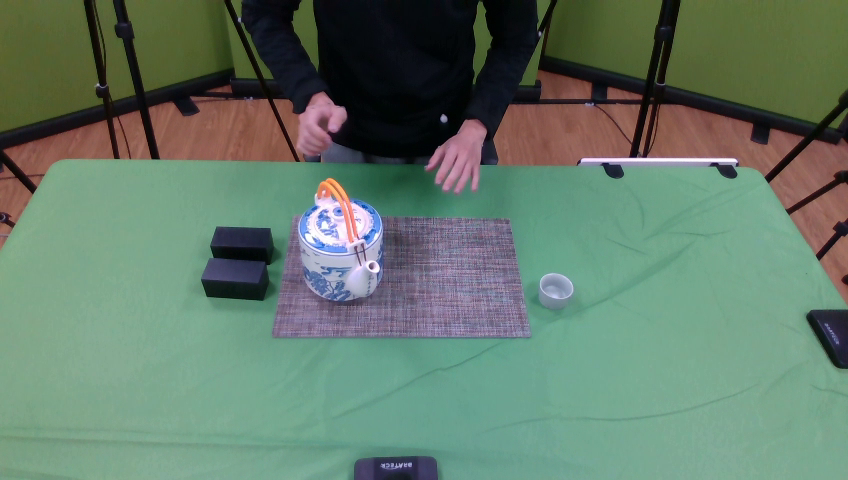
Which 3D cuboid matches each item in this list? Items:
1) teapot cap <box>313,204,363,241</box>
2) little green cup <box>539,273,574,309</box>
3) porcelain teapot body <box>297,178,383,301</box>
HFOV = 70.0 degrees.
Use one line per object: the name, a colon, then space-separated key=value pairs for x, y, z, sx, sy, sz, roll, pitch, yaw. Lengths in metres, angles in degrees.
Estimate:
teapot cap: x=-0.144 y=-0.034 z=1.020 sx=0.085 sy=0.044 sz=0.084 roll=2 pitch=49 yaw=-2
little green cup: x=0.240 y=0.096 z=1.113 sx=0.061 sy=0.039 sz=0.061 roll=2 pitch=47 yaw=-2
porcelain teapot body: x=-0.128 y=0.011 z=1.033 sx=0.145 sy=0.226 sz=0.204 roll=-24 pitch=53 yaw=-24
